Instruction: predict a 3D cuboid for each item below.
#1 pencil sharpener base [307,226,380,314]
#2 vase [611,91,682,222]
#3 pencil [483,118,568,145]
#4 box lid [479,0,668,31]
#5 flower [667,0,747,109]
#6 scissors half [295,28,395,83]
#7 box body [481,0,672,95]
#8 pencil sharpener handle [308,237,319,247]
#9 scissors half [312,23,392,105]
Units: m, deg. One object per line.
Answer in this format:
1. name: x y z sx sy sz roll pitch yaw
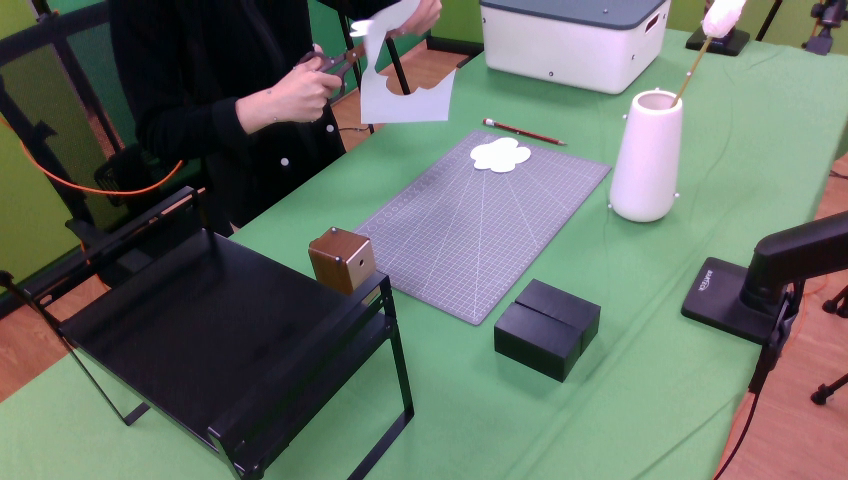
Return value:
1. pencil sharpener base: -0.116 0.043 0.875 0.076 0.107 0.061 18 47 27
2. vase: 0.348 -0.125 0.935 0.098 0.201 0.097 -3 40 3
3. pencil: 0.201 -0.217 1.212 0.192 0.012 0.012 24 49 29
4. box lid: 0.335 -0.536 1.331 0.368 0.015 0.264 23 49 30
5. flower: 0.354 -0.187 0.879 0.038 0.362 0.044 30 48 14
6. scissors half: -0.124 -0.290 0.938 0.175 0.040 0.013 -19 28 12
7. box body: 0.341 -0.480 1.381 0.361 0.161 0.255 22 48 30
8. pencil sharpener handle: -0.159 0.017 0.892 0.030 0.068 0.036 18 61 28
9. scissors half: -0.111 -0.274 0.945 0.175 0.040 0.012 -43 16 22
